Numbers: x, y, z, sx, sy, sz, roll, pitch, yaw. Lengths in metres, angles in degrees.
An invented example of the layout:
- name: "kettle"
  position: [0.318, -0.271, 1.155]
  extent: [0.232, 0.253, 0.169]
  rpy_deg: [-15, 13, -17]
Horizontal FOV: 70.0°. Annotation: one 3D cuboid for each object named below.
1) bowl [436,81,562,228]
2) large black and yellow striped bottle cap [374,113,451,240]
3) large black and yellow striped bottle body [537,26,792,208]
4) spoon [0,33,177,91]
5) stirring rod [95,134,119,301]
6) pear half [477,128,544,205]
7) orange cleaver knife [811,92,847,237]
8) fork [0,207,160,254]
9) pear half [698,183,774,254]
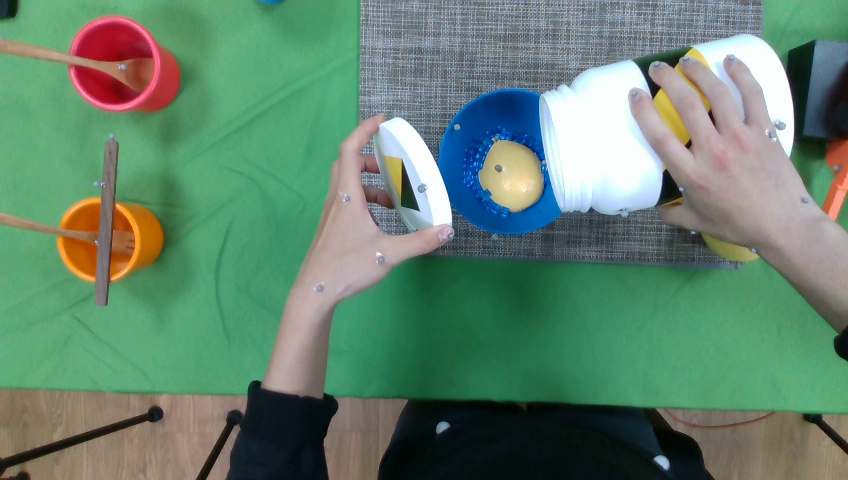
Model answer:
- name: "bowl"
  position: [0.088, -0.089, 0.656]
  extent: [0.151, 0.076, 0.151]
  rpy_deg: [0, 95, 1]
- name: "large black and yellow striped bottle cap"
  position: [-0.012, -0.055, 0.535]
  extent: [0.019, 0.114, 0.115]
  rpy_deg: [-24, 94, -17]
- name: "large black and yellow striped bottle body"
  position: [0.201, -0.102, 0.535]
  extent: [0.184, 0.130, 0.131]
  rpy_deg: [-12, 94, 7]
- name: "spoon"
  position: [-0.357, -0.191, 0.625]
  extent: [0.195, 0.021, 0.041]
  rpy_deg: [3, 99, -43]
- name: "stirring rod"
  position: [-0.332, -0.023, 0.635]
  extent: [0.014, 0.006, 0.176]
  rpy_deg: [7, 96, -2]
- name: "pear half"
  position: [0.093, -0.082, 0.651]
  extent: [0.070, 0.031, 0.088]
  rpy_deg: [-24, 91, -1]
- name: "orange cleaver knife"
  position: [0.454, -0.104, 0.652]
  extent: [0.012, 0.076, 0.213]
  rpy_deg: [5, 124, 6]
- name: "fork"
  position: [-0.385, -0.017, 0.638]
  extent: [0.209, 0.018, 0.028]
  rpy_deg: [17, 107, -44]
- name: "pear half"
  position: [0.330, -0.020, 0.644]
  extent: [0.056, 0.110, 0.076]
  rpy_deg: [-17, 90, 4]
